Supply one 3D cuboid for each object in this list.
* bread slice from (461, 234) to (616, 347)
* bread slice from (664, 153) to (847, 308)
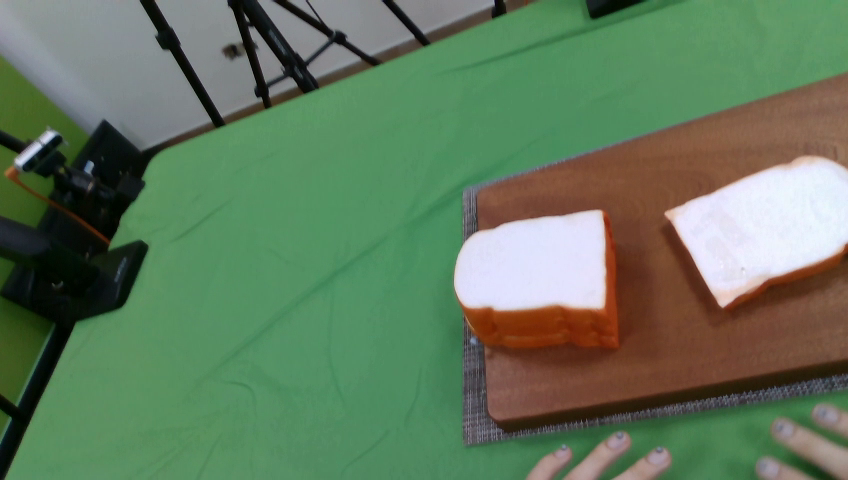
[{"bbox_3d":[0.098,0.043,0.527,0.134,0.018,0.106,-4,50,23],"label":"bread slice"},{"bbox_3d":[0.268,-0.012,0.466,0.131,0.019,0.104,-27,42,17],"label":"bread slice"}]
